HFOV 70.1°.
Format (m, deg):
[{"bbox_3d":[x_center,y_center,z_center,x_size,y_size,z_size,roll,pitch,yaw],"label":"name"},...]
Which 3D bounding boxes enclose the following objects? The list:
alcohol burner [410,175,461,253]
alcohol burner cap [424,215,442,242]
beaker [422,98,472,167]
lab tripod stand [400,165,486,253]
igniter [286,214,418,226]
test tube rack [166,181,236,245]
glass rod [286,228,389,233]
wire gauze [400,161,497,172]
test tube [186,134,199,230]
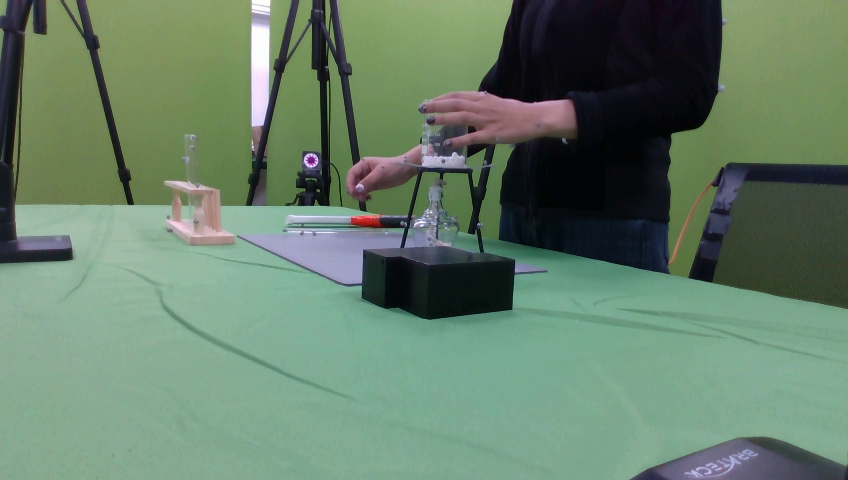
[{"bbox_3d":[0.018,-0.040,0.931,0.078,0.119,0.078,0,7,0],"label":"alcohol burner"},{"bbox_3d":[0.016,-0.022,1.099,0.034,0.048,0.034,2,9,0],"label":"alcohol burner cap"},{"bbox_3d":[0.031,-0.162,0.919,0.074,0.100,0.083,-4,9,-36],"label":"beaker"},{"bbox_3d":[0.028,-0.049,0.930,0.148,0.131,0.148,3,9,0],"label":"lab tripod stand"},{"bbox_3d":[-0.145,-0.043,1.263,0.278,0.025,0.057,-1,-2,-25],"label":"igniter"},{"bbox_3d":[-0.383,-0.051,1.024,0.067,0.085,0.241,-2,9,-31],"label":"test tube rack"},{"bbox_3d":[-0.153,-0.016,1.101,0.201,0.008,0.008,1,7,-30],"label":"glass rod"},{"bbox_3d":[0.028,-0.114,0.920,0.122,0.011,0.124,-5,12,-34],"label":"wire gauze"},{"bbox_3d":[-0.360,-0.089,0.946,0.017,0.150,0.017,0,10,0],"label":"test tube"}]
